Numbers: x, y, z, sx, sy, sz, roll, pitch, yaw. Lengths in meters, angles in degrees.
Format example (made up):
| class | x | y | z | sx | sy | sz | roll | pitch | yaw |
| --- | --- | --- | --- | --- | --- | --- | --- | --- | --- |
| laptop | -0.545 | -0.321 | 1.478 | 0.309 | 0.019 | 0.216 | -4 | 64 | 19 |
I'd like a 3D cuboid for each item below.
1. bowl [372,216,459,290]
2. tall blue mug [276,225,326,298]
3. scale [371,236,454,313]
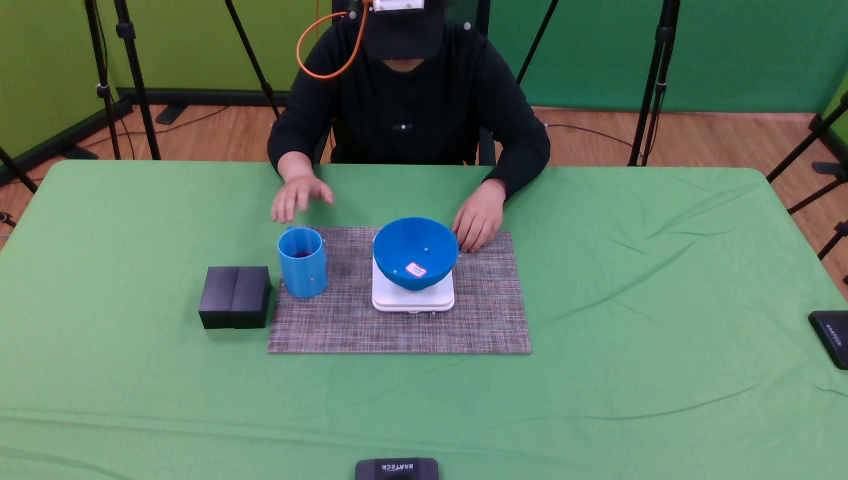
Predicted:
| class | x | y | z | sx | sy | sz | roll | pitch | yaw |
| --- | --- | --- | --- | --- | --- | --- | --- | --- | --- |
| bowl | -0.016 | 0.036 | 1.075 | 0.151 | 0.077 | 0.150 | 2 | 46 | -1 |
| tall blue mug | -0.228 | 0.033 | 1.083 | 0.107 | 0.108 | 0.077 | 30 | 52 | 23 |
| scale | -0.022 | 0.051 | 1.134 | 0.149 | 0.032 | 0.199 | 1 | 46 | -4 |
